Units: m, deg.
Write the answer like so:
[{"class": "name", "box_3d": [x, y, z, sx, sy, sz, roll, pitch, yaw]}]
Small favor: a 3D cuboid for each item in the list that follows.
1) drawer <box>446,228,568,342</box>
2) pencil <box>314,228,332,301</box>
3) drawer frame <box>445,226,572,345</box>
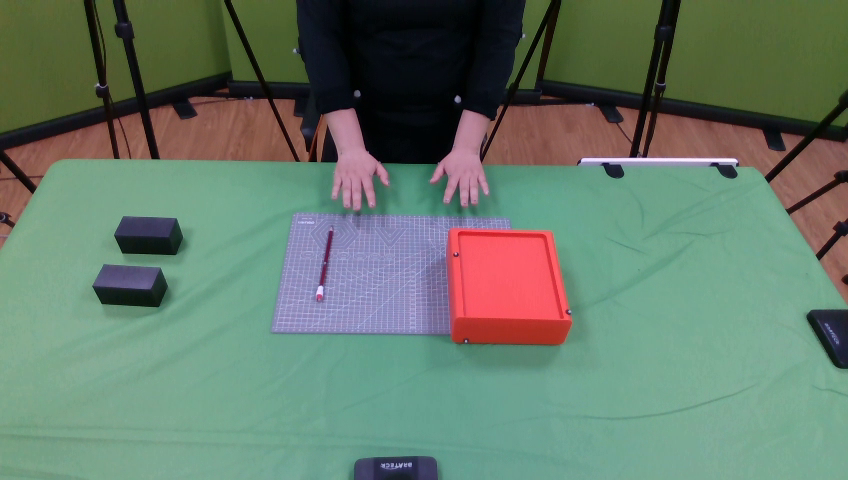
[{"class": "drawer", "box_3d": [0.142, 0.078, 1.089, 0.195, 0.073, 0.210, 2, 47, -4]}, {"class": "pencil", "box_3d": [-0.189, 0.041, 1.148, 0.012, 0.012, 0.193, 3, 43, -1]}, {"class": "drawer frame", "box_3d": [0.144, 0.078, 1.087, 0.202, 0.083, 0.212, 2, 47, -4]}]
